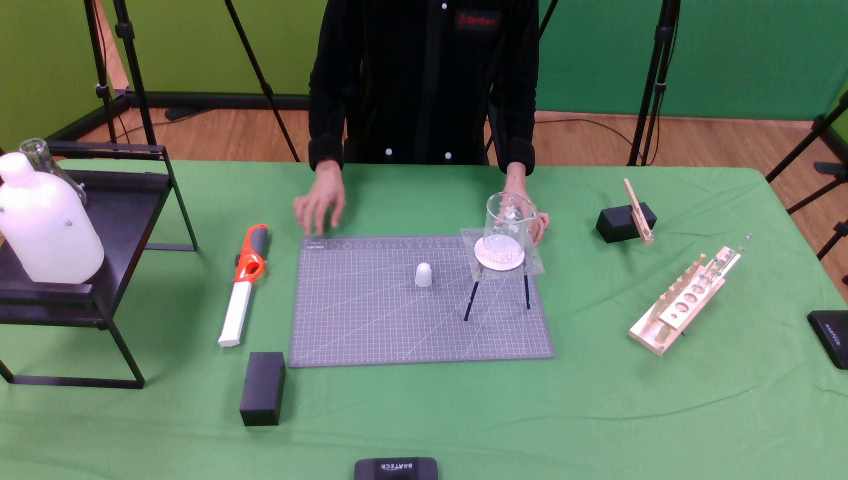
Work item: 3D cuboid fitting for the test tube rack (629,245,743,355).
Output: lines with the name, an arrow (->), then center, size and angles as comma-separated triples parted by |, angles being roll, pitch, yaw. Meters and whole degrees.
test tube rack -> 0.474, 0.095, 1.091 | 0.242, 0.085, 0.066 | -34, 56, -31

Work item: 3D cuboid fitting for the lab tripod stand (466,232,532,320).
lab tripod stand -> 0.125, 0.059, 1.065 | 0.148, 0.132, 0.147 | 1, 45, 0

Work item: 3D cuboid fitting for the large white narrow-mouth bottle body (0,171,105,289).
large white narrow-mouth bottle body -> -0.513, -0.029, 0.818 | 0.102, 0.195, 0.101 | 2, 46, -2

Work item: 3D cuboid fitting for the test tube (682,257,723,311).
test tube -> 0.475, 0.080, 1.037 | 0.017, 0.151, 0.017 | 1, 51, -1

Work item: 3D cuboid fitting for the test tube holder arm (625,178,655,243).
test tube holder arm -> 0.433, -0.062, 1.220 | 0.013, 0.015, 0.177 | 1, 47, -3

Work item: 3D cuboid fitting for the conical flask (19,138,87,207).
conical flask -> -0.576, -0.097, 0.930 | 0.075, 0.122, 0.075 | 2, 46, -2

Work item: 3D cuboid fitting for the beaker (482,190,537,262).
beaker -> 0.136, -0.019, 0.983 | 0.084, 0.101, 0.073 | 17, 47, 14

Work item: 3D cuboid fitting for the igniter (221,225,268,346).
igniter -> -0.323, 0.072, 1.100 | 0.057, 0.025, 0.274 | -7, 45, 5

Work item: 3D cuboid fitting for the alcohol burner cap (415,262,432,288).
alcohol burner cap -> 0.000, 0.061, 1.119 | 0.034, 0.048, 0.033 | 3, 43, -3

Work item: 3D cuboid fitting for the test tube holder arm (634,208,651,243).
test tube holder arm -> 0.428, -0.030, 1.189 | 0.010, 0.015, 0.087 | 1, 47, -2

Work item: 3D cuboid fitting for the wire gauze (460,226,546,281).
wire gauze -> 0.130, 0.017, 1.016 | 0.121, 0.011, 0.124 | -4, 43, -9

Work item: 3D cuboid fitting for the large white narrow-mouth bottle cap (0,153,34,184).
large white narrow-mouth bottle cap -> -0.510, -0.089, 0.755 | 0.038, 0.024, 0.037 | 2, 46, -2

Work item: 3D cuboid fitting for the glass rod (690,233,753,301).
glass rod -> 0.507, 0.053, 1.041 | 0.008, 0.200, 0.008 | 5, 51, -6

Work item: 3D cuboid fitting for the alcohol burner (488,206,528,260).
alcohol burner -> 0.163, -0.019, 1.157 | 0.078, 0.120, 0.077 | 0, 47, 0
